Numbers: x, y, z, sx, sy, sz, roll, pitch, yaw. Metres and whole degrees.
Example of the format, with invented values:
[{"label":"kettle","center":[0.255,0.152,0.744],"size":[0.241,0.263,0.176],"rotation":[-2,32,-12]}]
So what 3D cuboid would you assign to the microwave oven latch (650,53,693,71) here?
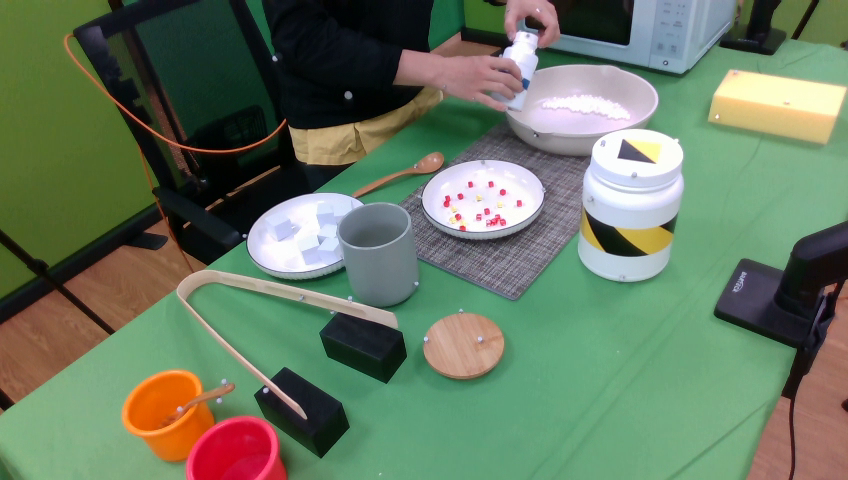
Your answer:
[{"label":"microwave oven latch","center":[0.531,-0.386,1.301],"size":[0.078,0.029,0.030],"rotation":[26,51,33]}]

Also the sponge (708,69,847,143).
[{"label":"sponge","center":[0.663,-0.256,1.141],"size":[0.205,0.061,0.118],"rotation":[18,47,28]}]

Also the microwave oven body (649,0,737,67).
[{"label":"microwave oven body","center":[0.475,-0.602,1.411],"size":[0.438,0.261,0.327],"rotation":[23,50,32]}]

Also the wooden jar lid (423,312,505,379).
[{"label":"wooden jar lid","center":[0.053,0.142,0.800],"size":[0.108,0.021,0.108],"rotation":[-5,39,4]}]

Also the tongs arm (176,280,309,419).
[{"label":"tongs arm","center":[-0.254,0.133,0.801],"size":[0.028,0.028,0.384],"rotation":[-41,41,-23]}]

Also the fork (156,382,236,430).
[{"label":"fork","center":[-0.262,0.189,0.690],"size":[0.018,0.206,0.028],"rotation":[49,43,-7]}]

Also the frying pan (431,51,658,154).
[{"label":"frying pan","center":[0.216,-0.303,1.223],"size":[0.484,0.103,0.308],"rotation":[29,50,24]}]

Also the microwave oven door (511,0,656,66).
[{"label":"microwave oven door","center":[0.351,-0.540,1.349],"size":[0.353,0.245,0.039],"rotation":[24,50,31]}]

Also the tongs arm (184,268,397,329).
[{"label":"tongs arm","center":[-0.202,0.084,0.848],"size":[0.382,0.027,0.051],"rotation":[11,45,35]}]

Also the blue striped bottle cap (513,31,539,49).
[{"label":"blue striped bottle cap","center":[0.180,-0.353,1.066],"size":[0.044,0.020,0.044],"rotation":[12,3,0]}]

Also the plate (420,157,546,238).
[{"label":"plate","center":[0.099,-0.067,1.017],"size":[0.209,0.038,0.208],"rotation":[-4,40,4]}]

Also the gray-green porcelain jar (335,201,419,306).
[{"label":"gray-green porcelain jar","center":[-0.064,0.024,0.872],"size":[0.106,0.127,0.105],"rotation":[-4,41,4]}]

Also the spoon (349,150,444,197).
[{"label":"spoon","center":[-0.051,-0.123,1.120],"size":[0.194,0.022,0.041],"rotation":[-22,62,-18]}]

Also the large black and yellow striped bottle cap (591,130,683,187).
[{"label":"large black and yellow striped bottle cap","center":[0.282,-0.111,0.803],"size":[0.115,0.019,0.114],"rotation":[-3,41,3]}]

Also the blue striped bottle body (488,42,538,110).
[{"label":"blue striped bottle body","center":[0.162,-0.299,1.076],"size":[0.063,0.121,0.063],"rotation":[18,9,-2]}]

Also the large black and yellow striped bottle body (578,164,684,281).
[{"label":"large black and yellow striped bottle body","center":[0.291,-0.046,0.859],"size":[0.131,0.185,0.130],"rotation":[-4,41,4]}]

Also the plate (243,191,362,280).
[{"label":"plate","center":[-0.187,-0.005,0.992],"size":[0.207,0.039,0.206],"rotation":[-4,40,4]}]
